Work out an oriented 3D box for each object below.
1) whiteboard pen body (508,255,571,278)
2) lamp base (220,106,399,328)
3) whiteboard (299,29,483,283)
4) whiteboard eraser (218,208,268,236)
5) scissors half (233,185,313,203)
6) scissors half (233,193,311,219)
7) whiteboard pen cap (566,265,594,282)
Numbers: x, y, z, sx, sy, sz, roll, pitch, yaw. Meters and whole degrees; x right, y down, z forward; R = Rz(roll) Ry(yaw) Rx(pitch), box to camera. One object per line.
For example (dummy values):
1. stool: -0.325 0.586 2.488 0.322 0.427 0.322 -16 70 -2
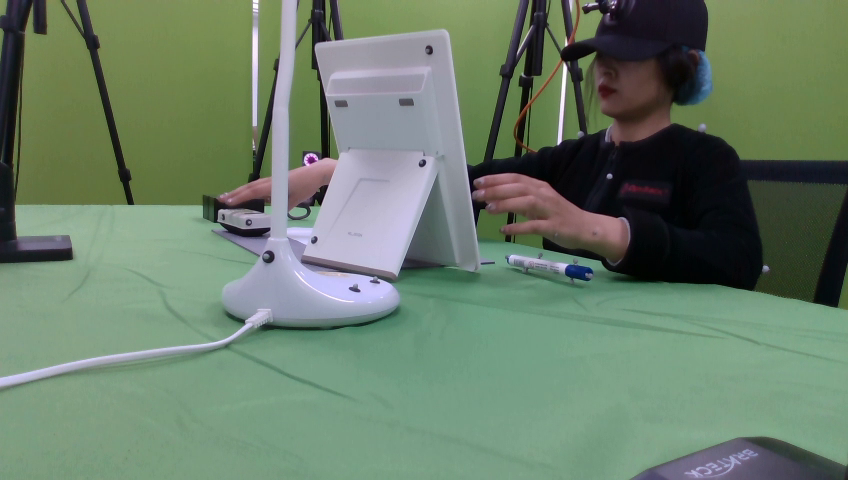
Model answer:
1. whiteboard pen body: 0.156 0.034 0.773 0.017 0.017 0.140 -2 7 -32
2. lamp base: -0.102 -0.023 0.531 0.160 0.180 0.179 4 10 10
3. whiteboard: -0.074 -0.082 0.742 0.216 0.305 0.144 9 29 38
4. whiteboard eraser: -0.309 -0.031 1.044 0.056 0.042 0.112 -3 9 -40
5. scissors half: -0.326 -0.098 1.315 0.176 0.040 0.012 -5 19 -29
6. scissors half: -0.330 -0.078 1.319 0.176 0.040 0.013 16 3 -32
7. whiteboard pen cap: 0.185 0.040 0.722 0.018 0.018 0.033 -3 6 -33
